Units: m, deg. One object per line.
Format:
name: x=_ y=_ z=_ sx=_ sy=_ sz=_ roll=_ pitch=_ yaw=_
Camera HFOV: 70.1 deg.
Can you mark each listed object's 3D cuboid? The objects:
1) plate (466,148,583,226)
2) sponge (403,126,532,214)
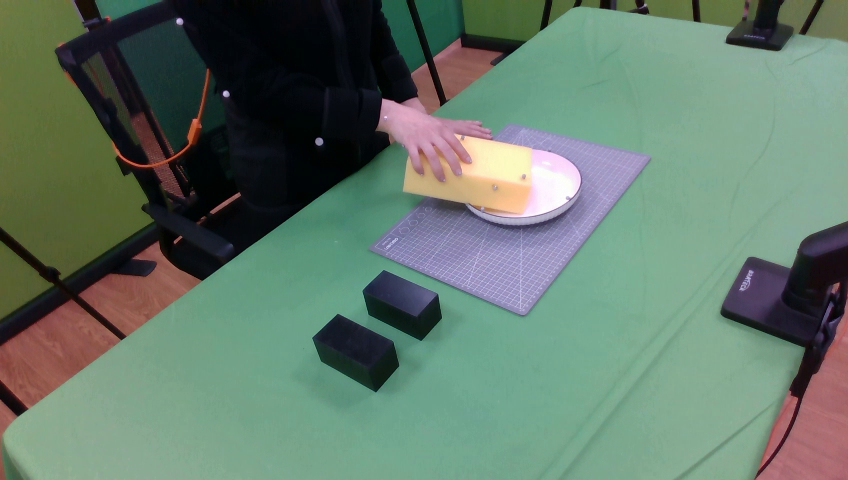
plate: x=0.167 y=-0.089 z=1.043 sx=0.209 sy=0.038 sz=0.208 roll=-5 pitch=40 yaw=5
sponge: x=0.076 y=-0.120 z=1.025 sx=0.207 sy=0.061 sz=0.118 roll=10 pitch=42 yaw=-2
